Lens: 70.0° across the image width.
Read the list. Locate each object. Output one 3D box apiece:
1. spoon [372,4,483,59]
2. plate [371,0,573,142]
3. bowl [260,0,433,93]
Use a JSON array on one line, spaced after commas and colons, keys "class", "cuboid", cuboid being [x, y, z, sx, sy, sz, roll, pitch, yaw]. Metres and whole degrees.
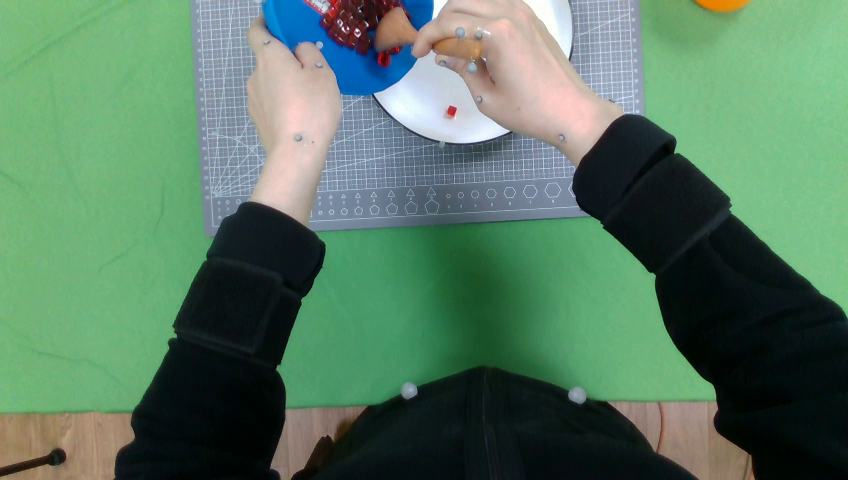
[{"class": "spoon", "cuboid": [-0.001, -0.151, 0.448, 0.022, 0.191, 0.041, 27, 99, -34]}, {"class": "plate", "cuboid": [0.038, -0.198, 0.589, 0.209, 0.038, 0.209, 0, 91, 3]}, {"class": "bowl", "cuboid": [-0.075, -0.201, 0.497, 0.076, 0.153, 0.151, 25, 93, 47]}]
